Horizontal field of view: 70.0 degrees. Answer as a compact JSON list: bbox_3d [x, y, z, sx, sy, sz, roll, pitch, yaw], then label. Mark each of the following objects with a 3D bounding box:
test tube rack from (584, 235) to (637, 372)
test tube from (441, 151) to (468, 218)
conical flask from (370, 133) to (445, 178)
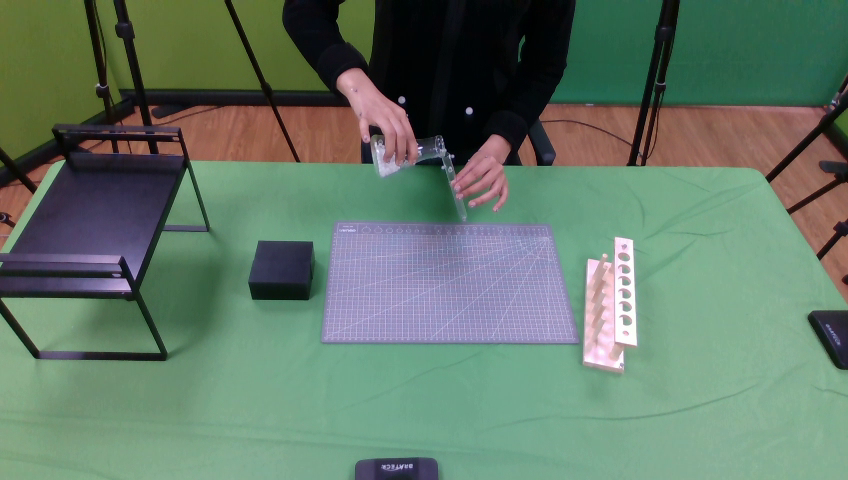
[{"bbox_3d":[0.329,0.103,1.073,0.067,0.085,0.241,10,47,7],"label":"test tube rack"},{"bbox_3d":[0.056,-0.097,1.091,0.017,0.151,0.017,-11,42,10],"label":"test tube"},{"bbox_3d":[-0.027,-0.152,1.024,0.122,0.076,0.075,-11,48,-5],"label":"conical flask"}]
